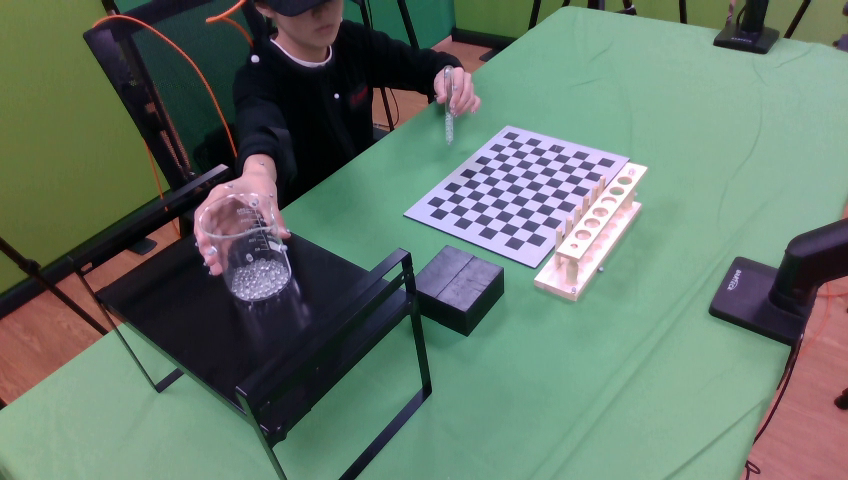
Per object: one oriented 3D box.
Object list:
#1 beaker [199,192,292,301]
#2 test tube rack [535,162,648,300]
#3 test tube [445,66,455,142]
[{"bbox_3d":[-0.185,0.010,0.652,0.083,0.101,0.074,10,44,18],"label":"beaker"},{"bbox_3d":[0.257,-0.024,0.916,0.066,0.085,0.243,22,49,30],"label":"test tube rack"},{"bbox_3d":[0.048,-0.246,1.106,0.017,0.151,0.017,-2,41,2],"label":"test tube"}]
